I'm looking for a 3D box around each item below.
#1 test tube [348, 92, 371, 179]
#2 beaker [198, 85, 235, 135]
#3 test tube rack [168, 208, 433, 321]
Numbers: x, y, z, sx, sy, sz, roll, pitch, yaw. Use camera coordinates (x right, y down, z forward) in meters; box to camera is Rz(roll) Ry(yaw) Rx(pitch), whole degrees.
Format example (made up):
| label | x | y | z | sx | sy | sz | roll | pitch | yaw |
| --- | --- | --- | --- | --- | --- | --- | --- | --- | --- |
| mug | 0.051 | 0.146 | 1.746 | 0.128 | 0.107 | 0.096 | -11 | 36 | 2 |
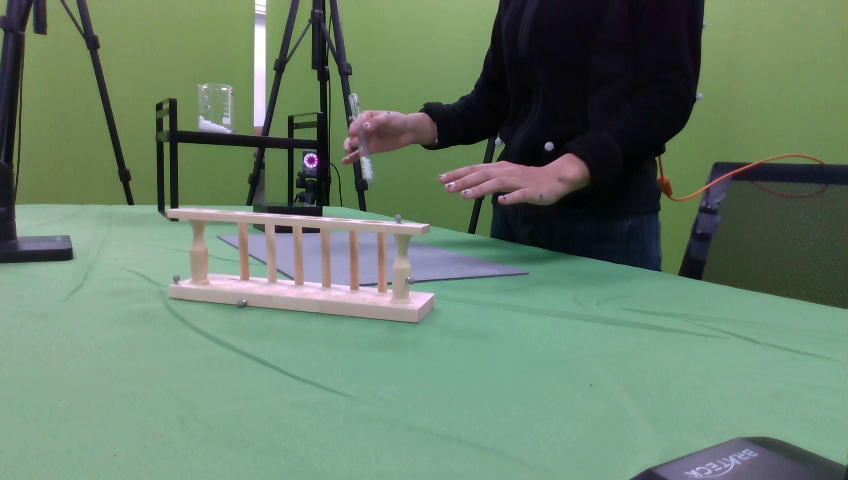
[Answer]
| label | x | y | z | sx | sy | sz | roll | pitch | yaw |
| --- | --- | --- | --- | --- | --- | --- | --- | --- | --- |
| test tube | -0.107 | -0.173 | 1.000 | 0.017 | 0.150 | 0.017 | -10 | -9 | -1 |
| beaker | -0.439 | -0.273 | 1.275 | 0.074 | 0.100 | 0.084 | 5 | 8 | 19 |
| test tube rack | -0.116 | 0.017 | 0.574 | 0.242 | 0.085 | 0.067 | 4 | 8 | 13 |
